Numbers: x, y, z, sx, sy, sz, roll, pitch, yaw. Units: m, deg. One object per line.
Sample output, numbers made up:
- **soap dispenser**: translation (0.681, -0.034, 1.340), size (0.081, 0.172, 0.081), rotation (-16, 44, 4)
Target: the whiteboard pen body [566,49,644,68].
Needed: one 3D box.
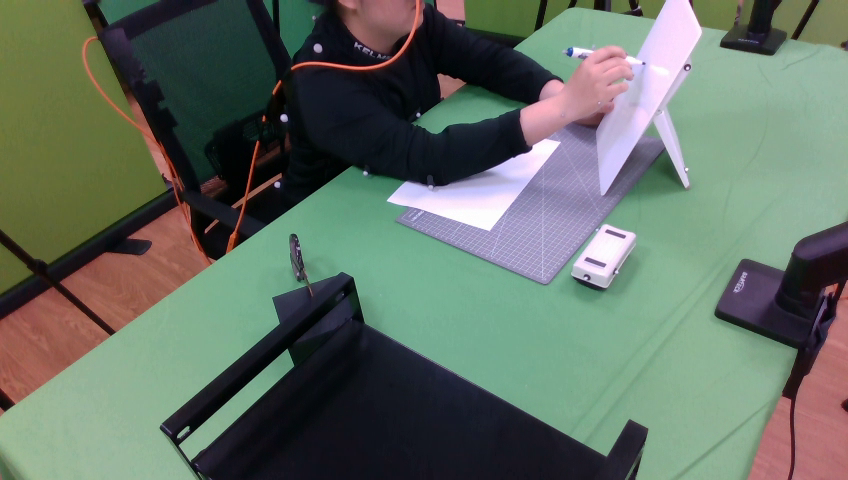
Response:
- **whiteboard pen body**: translation (0.302, -0.299, 1.001), size (0.141, 0.017, 0.017), rotation (5, 39, -12)

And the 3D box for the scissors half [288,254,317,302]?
- **scissors half**: translation (-0.177, 0.058, 0.894), size (0.013, 0.040, 0.174), rotation (-16, 21, -18)

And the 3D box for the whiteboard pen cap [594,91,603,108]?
- **whiteboard pen cap**: translation (0.364, -0.293, 1.262), size (0.018, 0.033, 0.018), rotation (-5, 41, 5)

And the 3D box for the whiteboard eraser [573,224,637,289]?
- **whiteboard eraser**: translation (0.267, 0.025, 0.891), size (0.055, 0.042, 0.113), rotation (19, 47, 31)

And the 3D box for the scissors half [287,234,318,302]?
- **scissors half**: translation (-0.178, 0.040, 0.885), size (0.013, 0.040, 0.173), rotation (-12, 36, -21)

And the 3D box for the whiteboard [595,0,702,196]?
- **whiteboard**: translation (0.421, -0.227, 1.010), size (0.144, 0.305, 0.216), rotation (18, 42, -2)
